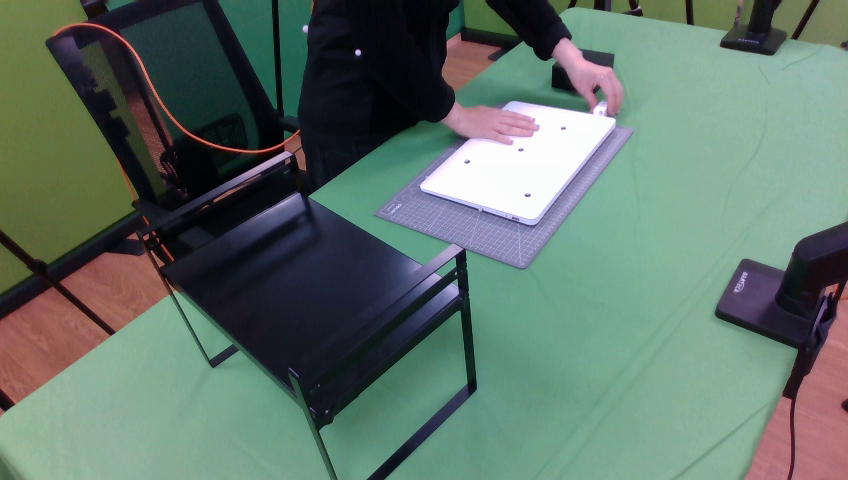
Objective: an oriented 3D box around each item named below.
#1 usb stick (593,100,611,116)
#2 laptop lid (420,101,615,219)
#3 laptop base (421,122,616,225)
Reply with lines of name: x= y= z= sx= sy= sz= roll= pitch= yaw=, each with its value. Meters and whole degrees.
usb stick: x=0.351 y=-0.255 z=1.206 sx=0.021 sy=0.027 sz=0.059 roll=23 pitch=46 yaw=23
laptop lid: x=0.181 y=-0.166 z=1.125 sx=0.240 sy=0.013 sz=0.357 roll=20 pitch=47 yaw=31
laptop base: x=0.184 y=-0.156 z=1.132 sx=0.234 sy=0.023 sz=0.355 roll=18 pitch=46 yaw=31
